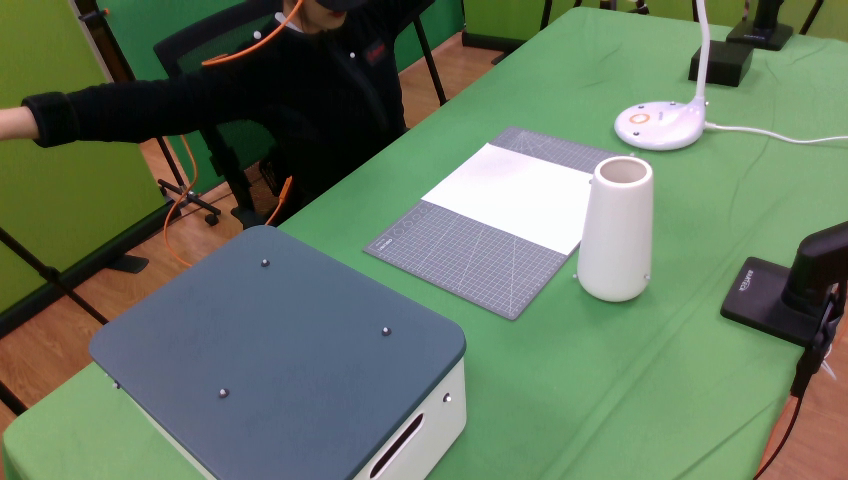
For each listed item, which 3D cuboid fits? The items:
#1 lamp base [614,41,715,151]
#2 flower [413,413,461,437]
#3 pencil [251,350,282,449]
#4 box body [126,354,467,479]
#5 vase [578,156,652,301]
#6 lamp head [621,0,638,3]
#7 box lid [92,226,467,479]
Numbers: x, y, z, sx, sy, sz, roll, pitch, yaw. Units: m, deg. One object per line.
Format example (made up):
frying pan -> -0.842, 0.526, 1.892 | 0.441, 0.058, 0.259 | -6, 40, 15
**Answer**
lamp base -> 0.449, -0.277, 1.106 | 0.179, 0.181, 0.160 | 1, 41, 9
flower -> -0.120, 0.202, 0.774 | 0.359, 0.038, 0.044 | 3, 78, 24
pencil -> -0.212, 0.203, 0.798 | 0.012, 0.012, 0.192 | -22, 35, -14
box body -> -0.155, 0.169, 0.707 | 0.361, 0.161, 0.255 | 23, 49, 33
vase -> 0.261, -0.011, 0.812 | 0.098, 0.201, 0.097 | -4, 40, 4
lamp head -> 0.319, -0.453, 0.962 | 0.113, 0.123, 0.112 | 20, 33, -13
box lid -> -0.167, 0.110, 0.661 | 0.368, 0.015, 0.264 | 24, 50, 33
